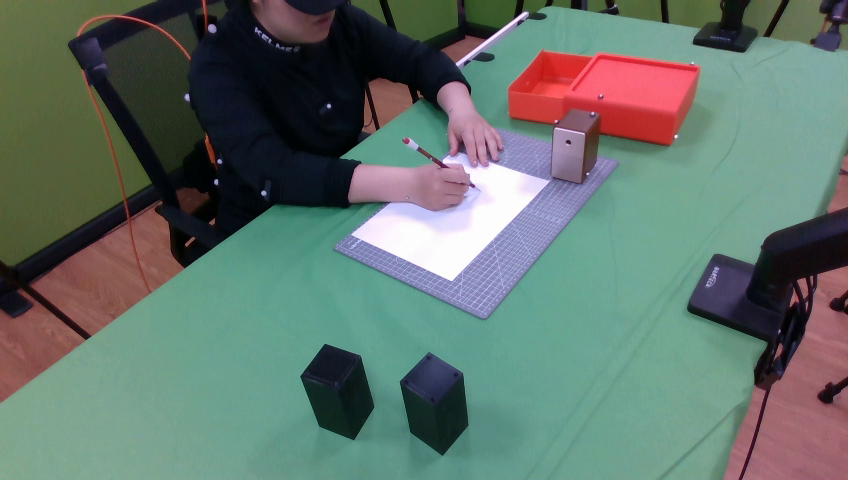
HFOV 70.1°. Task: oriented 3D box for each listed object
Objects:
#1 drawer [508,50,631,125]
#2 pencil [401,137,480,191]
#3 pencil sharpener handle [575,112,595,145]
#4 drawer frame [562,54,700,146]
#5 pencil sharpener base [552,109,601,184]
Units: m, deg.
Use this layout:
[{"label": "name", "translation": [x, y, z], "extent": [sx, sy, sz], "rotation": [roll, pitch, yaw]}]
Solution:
[{"label": "drawer", "translation": [0.305, -0.310, 1.246], "extent": [0.210, 0.073, 0.195], "rotation": [16, 45, 25]}, {"label": "pencil", "translation": [0.033, -0.122, 1.002], "extent": [0.012, 0.196, 0.012], "rotation": [-24, 53, 36]}, {"label": "pencil sharpener handle", "translation": [0.290, -0.203, 1.077], "extent": [0.036, 0.068, 0.031], "rotation": [19, 47, 26]}, {"label": "drawer frame", "translation": [0.407, -0.282, 1.195], "extent": [0.212, 0.083, 0.202], "rotation": [17, 45, 25]}, {"label": "pencil sharpener base", "translation": [0.265, -0.163, 1.053], "extent": [0.061, 0.107, 0.077], "rotation": [17, 46, 27]}]
